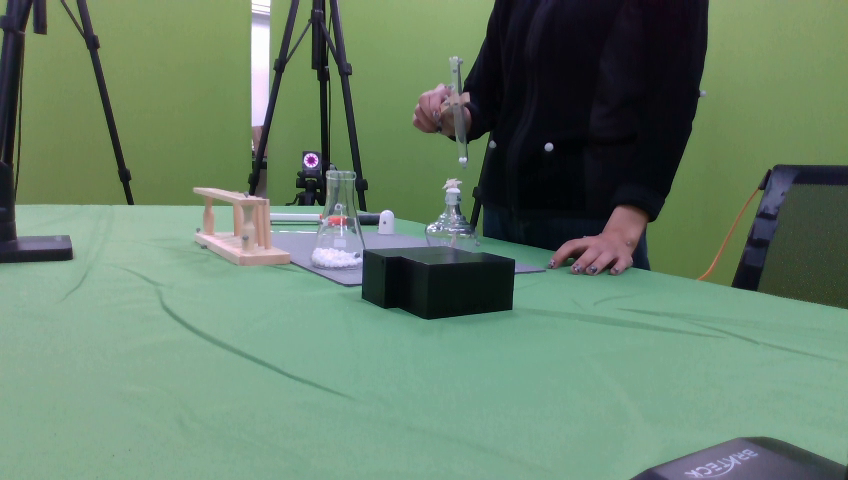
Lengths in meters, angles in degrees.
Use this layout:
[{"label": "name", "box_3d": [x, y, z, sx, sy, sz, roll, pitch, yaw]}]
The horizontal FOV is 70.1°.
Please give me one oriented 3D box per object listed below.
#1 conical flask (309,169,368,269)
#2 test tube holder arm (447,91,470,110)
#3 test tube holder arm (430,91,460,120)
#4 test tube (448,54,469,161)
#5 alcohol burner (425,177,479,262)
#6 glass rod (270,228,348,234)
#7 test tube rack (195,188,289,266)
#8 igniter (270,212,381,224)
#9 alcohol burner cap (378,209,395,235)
[{"label": "conical flask", "box_3d": [-0.107, -0.028, 0.762, 0.075, 0.122, 0.075, 2, 7, 0]}, {"label": "test tube holder arm", "box_3d": [0.046, -0.201, 0.876, 0.010, 0.015, 0.087, -3, 3, -19]}, {"label": "test tube holder arm", "box_3d": [0.029, -0.202, 0.918, 0.013, 0.015, 0.178, -2, 3, -11]}, {"label": "test tube", "box_3d": [0.049, -0.186, 0.853, 0.017, 0.150, 0.017, -6, 3, 1]}, {"label": "alcohol burner", "box_3d": [0.040, -0.029, 0.853, 0.078, 0.119, 0.078, 2, 10, 0]}, {"label": "glass rod", "box_3d": [-0.234, -0.017, 1.105, 0.201, 0.008, 0.008, 2, 6, -26]}, {"label": "test tube rack", "box_3d": [-0.266, -0.025, 0.864, 0.067, 0.085, 0.241, -2, 8, -33]}, {"label": "igniter", "box_3d": [-0.213, -0.048, 1.279, 0.278, 0.025, 0.057, -1, -2, -24]}, {"label": "alcohol burner cap", "box_3d": [-0.070, -0.035, 1.144, 0.034, 0.048, 0.034, 2, 8, 0]}]
